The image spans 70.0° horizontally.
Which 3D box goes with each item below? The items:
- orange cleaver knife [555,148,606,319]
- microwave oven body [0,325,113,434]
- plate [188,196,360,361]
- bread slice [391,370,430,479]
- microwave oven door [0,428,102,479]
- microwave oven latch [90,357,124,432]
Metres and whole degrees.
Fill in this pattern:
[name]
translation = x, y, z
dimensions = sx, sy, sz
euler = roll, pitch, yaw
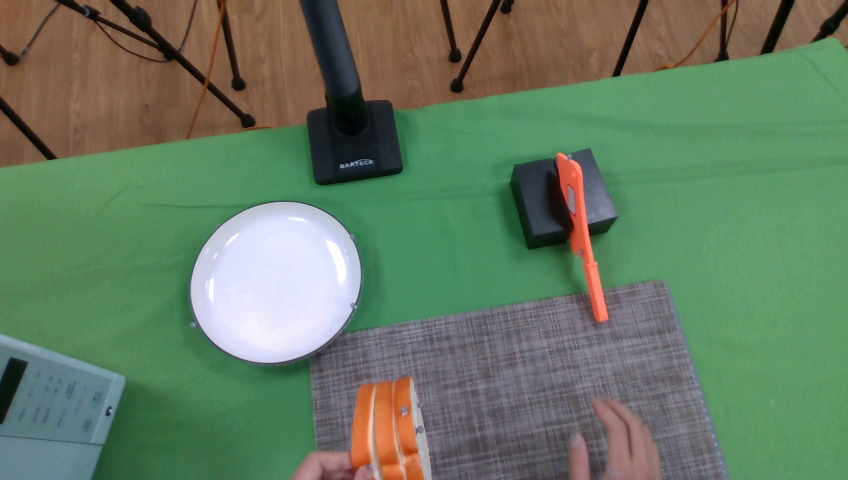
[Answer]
[orange cleaver knife]
translation = 0.189, -0.009, 0.741
dimensions = 0.012, 0.077, 0.212
euler = -14, 100, -5
[microwave oven body]
translation = -0.548, 0.275, 0.542
dimensions = 0.326, 0.261, 0.439
euler = 11, 71, 3
[plate]
translation = -0.181, 0.047, 0.748
dimensions = 0.208, 0.039, 0.206
euler = 0, 70, 0
[bread slice]
translation = -0.011, 0.195, 0.582
dimensions = 0.018, 0.135, 0.106
euler = -11, 30, 0
[microwave oven door]
translation = -0.413, 0.338, 0.514
dimensions = 0.039, 0.245, 0.353
euler = 10, 70, 5
[microwave oven latch]
translation = -0.367, 0.173, 0.682
dimensions = 0.030, 0.029, 0.078
euler = 13, 71, 4
